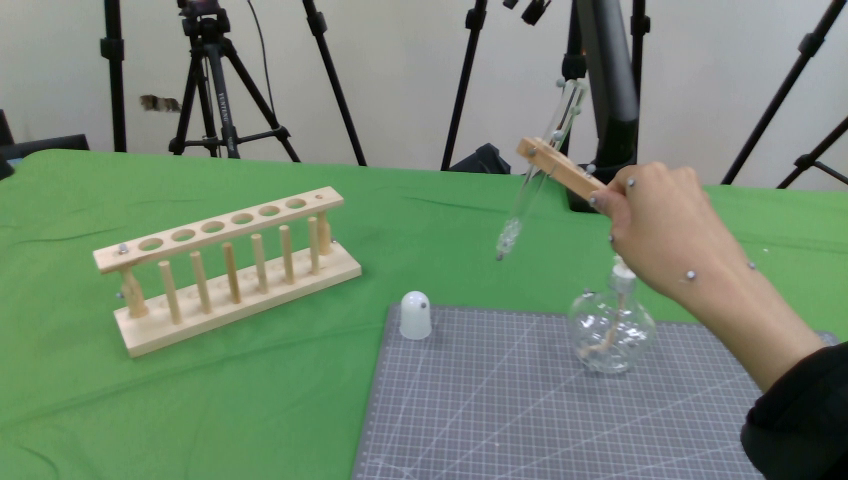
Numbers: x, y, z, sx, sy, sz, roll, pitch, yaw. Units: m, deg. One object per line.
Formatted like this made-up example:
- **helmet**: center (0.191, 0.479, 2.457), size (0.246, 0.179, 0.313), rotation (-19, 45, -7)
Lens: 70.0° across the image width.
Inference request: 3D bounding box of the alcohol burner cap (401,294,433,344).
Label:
- **alcohol burner cap**: center (-0.007, 0.074, 0.591), size (0.034, 0.048, 0.033), rotation (1, 35, 0)

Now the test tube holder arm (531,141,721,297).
- **test tube holder arm**: center (0.134, -0.022, 0.429), size (0.013, 0.015, 0.176), rotation (-7, 41, -41)

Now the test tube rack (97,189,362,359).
- **test tube rack**: center (-0.187, 0.027, 0.622), size (0.243, 0.086, 0.066), rotation (-19, 38, -28)

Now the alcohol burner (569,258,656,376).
- **alcohol burner**: center (0.173, 0.064, 0.546), size (0.078, 0.120, 0.077), rotation (2, 35, -1)

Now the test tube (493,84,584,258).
- **test tube**: center (0.086, -0.048, 0.472), size (0.017, 0.151, 0.017), rotation (16, 29, -8)

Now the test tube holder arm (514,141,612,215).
- **test tube holder arm**: center (0.103, -0.047, 0.449), size (0.087, 0.015, 0.010), rotation (40, 34, 28)
